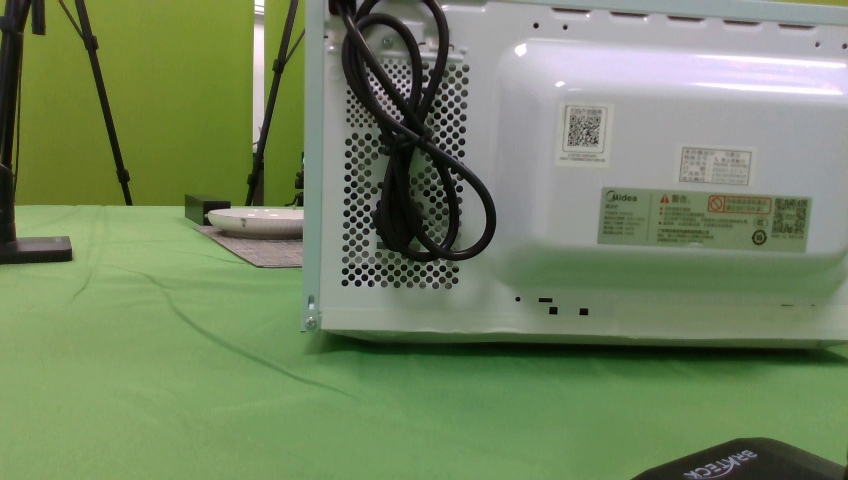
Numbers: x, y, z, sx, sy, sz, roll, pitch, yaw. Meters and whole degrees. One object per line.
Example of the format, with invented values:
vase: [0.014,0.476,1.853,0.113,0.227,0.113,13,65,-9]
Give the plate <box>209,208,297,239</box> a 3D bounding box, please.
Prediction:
plate: [-0.271,-0.029,1.074,0.208,0.039,0.207,3,7,0]

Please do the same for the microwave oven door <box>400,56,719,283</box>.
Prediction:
microwave oven door: [0.155,-0.077,0.698,0.356,0.243,0.039,2,8,-5]

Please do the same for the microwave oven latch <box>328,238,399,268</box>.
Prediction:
microwave oven latch: [-0.069,0.015,0.694,0.079,0.029,0.030,3,7,-3]

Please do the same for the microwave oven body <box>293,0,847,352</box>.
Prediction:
microwave oven body: [0.122,-0.055,0.550,0.442,0.260,0.325,3,7,-5]

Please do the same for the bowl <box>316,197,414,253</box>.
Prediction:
bowl: [-0.092,-0.023,0.931,0.151,0.077,0.151,3,7,0]
